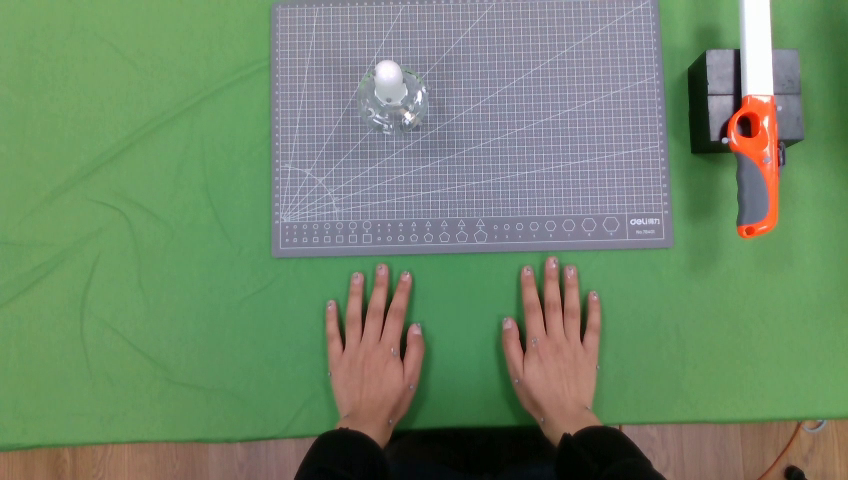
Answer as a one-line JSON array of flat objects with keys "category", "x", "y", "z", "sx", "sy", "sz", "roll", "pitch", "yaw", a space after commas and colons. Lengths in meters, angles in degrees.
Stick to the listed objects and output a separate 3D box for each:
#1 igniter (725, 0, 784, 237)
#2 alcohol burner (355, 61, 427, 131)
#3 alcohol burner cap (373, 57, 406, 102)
[{"category": "igniter", "x": 0.344, "y": -0.139, "z": 0.633, "sx": 0.057, "sy": 0.025, "sz": 0.275, "roll": 3, "pitch": 83, "yaw": 4}, {"category": "alcohol burner", "x": -0.036, "y": -0.158, "z": 0.639, "sx": 0.078, "sy": 0.119, "sz": 0.077, "roll": 0, "pitch": 83, "yaw": -1}, {"category": "alcohol burner cap", "x": -0.036, "y": -0.162, "z": 0.604, "sx": 0.034, "sy": 0.048, "sz": 0.033, "roll": -1, "pitch": 78, "yaw": 3}]
